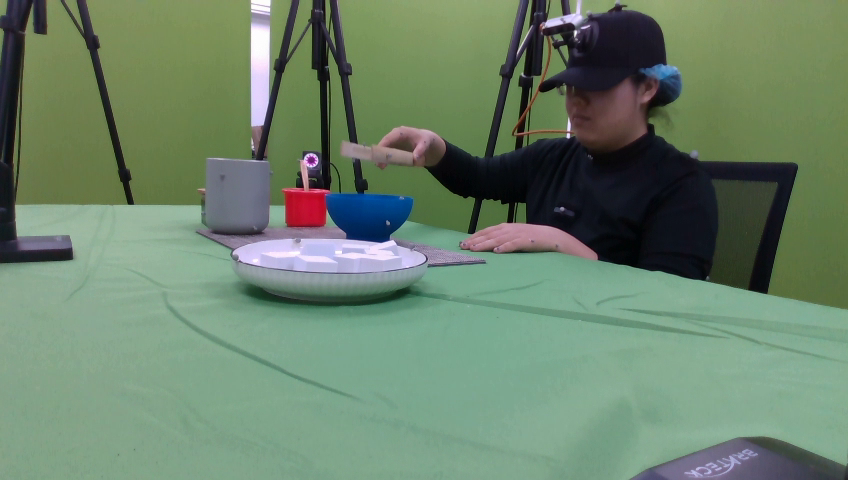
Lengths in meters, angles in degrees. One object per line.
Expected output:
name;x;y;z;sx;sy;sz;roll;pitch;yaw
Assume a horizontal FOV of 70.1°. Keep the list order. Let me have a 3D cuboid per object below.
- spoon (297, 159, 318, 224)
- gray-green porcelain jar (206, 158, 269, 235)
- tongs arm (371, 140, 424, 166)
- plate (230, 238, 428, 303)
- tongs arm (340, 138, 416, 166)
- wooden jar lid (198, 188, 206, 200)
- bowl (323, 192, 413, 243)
spoon;-0.244;-0.103;1.251;0.042;0.021;0.193;1;51;-17
gray-green porcelain jar;-0.322;-0.076;1.048;0.106;0.126;0.106;3;7;0
tongs arm;-0.044;-0.162;1.155;0.028;0.028;0.388;0;4;12
plate;-0.099;0.032;0.651;0.209;0.038;0.209;3;8;0
tongs arm;-0.076;-0.165;1.162;0.051;0.026;0.385;3;5;10
wooden jar lid;-0.382;-0.088;1.175;0.108;0.020;0.108;3;8;0
bowl;-0.094;-0.037;1.015;0.151;0.077;0.151;3;7;0
